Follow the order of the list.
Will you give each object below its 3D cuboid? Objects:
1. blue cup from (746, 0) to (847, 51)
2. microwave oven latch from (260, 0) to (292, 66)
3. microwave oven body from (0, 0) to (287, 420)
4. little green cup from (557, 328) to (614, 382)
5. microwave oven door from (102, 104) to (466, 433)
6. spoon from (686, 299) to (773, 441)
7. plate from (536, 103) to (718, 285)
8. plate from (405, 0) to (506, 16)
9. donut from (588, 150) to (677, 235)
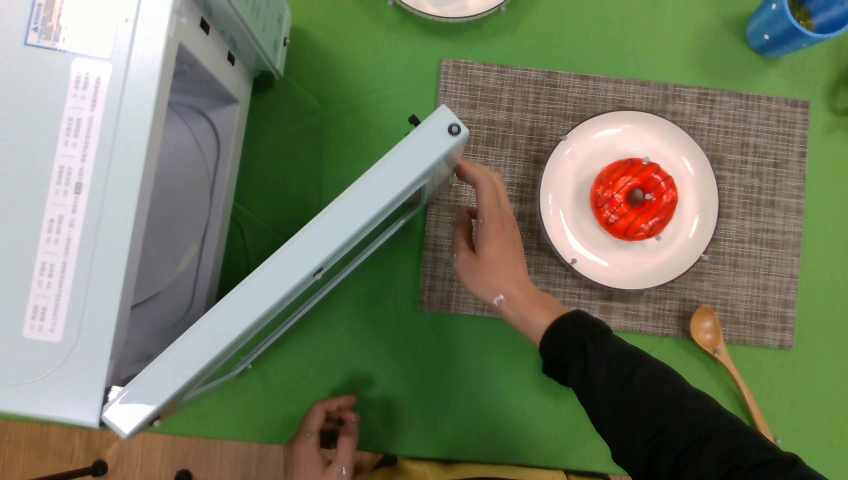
[{"bbox_3d":[0.422,-0.261,0.690,0.093,0.100,0.092,0,89,-2],"label":"blue cup"},{"bbox_3d":[-0.170,-0.241,0.685,0.030,0.029,0.079,12,88,-1],"label":"microwave oven latch"},{"bbox_3d":[-0.342,-0.095,0.579,0.326,0.260,0.441,9,88,-1],"label":"microwave oven body"},{"bbox_3d":[0.183,0.131,0.700,0.061,0.038,0.061,0,85,-1],"label":"little green cup"},{"bbox_3d":[-0.108,0.024,0.577,0.356,0.244,0.039,-43,88,-3],"label":"microwave oven door"},{"bbox_3d":[0.360,0.155,0.709,0.041,0.021,0.193,-31,90,-18],"label":"spoon"},{"bbox_3d":[0.232,-0.052,0.704,0.209,0.038,0.209,0,88,-1],"label":"plate"},{"bbox_3d":[0.036,-0.362,0.714,0.208,0.039,0.207,0,88,-1],"label":"plate"},{"bbox_3d":[0.237,-0.054,0.693,0.099,0.048,0.099,0,89,1],"label":"donut"}]
